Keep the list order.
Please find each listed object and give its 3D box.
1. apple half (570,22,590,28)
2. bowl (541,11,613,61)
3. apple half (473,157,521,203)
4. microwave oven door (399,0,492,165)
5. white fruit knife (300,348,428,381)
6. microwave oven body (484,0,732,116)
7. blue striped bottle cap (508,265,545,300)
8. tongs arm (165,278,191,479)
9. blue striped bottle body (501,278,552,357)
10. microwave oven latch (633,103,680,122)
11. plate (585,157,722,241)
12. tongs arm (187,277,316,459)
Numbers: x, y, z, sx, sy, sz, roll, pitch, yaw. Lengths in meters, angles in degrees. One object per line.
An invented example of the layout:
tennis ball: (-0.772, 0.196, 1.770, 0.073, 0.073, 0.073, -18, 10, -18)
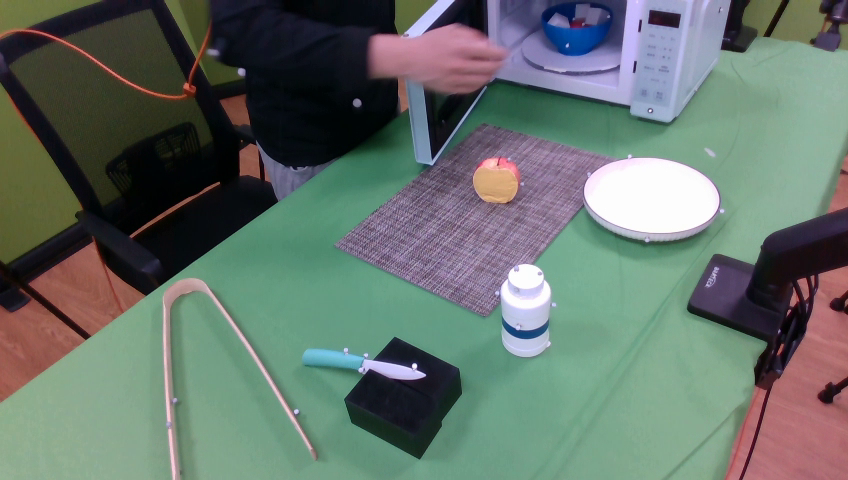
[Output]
apple half: (0.332, -0.445, 1.300, 0.081, 0.033, 0.081, -14, 41, 14)
bowl: (0.332, -0.437, 1.307, 0.151, 0.077, 0.151, -9, 29, 5)
apple half: (0.127, -0.106, 1.030, 0.080, 0.075, 0.053, 4, 37, 19)
microwave oven door: (0.054, -0.343, 1.167, 0.039, 0.245, 0.356, 11, 44, 21)
white fruit knife: (-0.079, 0.154, 0.748, 0.206, 0.027, 0.016, 1, 20, 34)
microwave oven body: (0.377, -0.463, 1.267, 0.438, 0.261, 0.327, 21, 49, 30)
blue striped bottle cap: (0.125, 0.051, 0.735, 0.044, 0.021, 0.044, -6, 38, 5)
tongs arm: (-0.313, 0.182, 0.789, 0.051, 0.026, 0.381, -19, 41, -14)
blue striped bottle body: (0.129, 0.089, 0.769, 0.063, 0.121, 0.063, -4, 40, 4)
microwave oven latch: (0.443, -0.249, 1.158, 0.078, 0.029, 0.030, 21, 49, 30)
plate: (0.367, -0.063, 0.979, 0.207, 0.039, 0.206, -4, 41, 4)
tongs arm: (-0.240, 0.154, 0.815, 0.028, 0.028, 0.384, -31, 46, -21)
